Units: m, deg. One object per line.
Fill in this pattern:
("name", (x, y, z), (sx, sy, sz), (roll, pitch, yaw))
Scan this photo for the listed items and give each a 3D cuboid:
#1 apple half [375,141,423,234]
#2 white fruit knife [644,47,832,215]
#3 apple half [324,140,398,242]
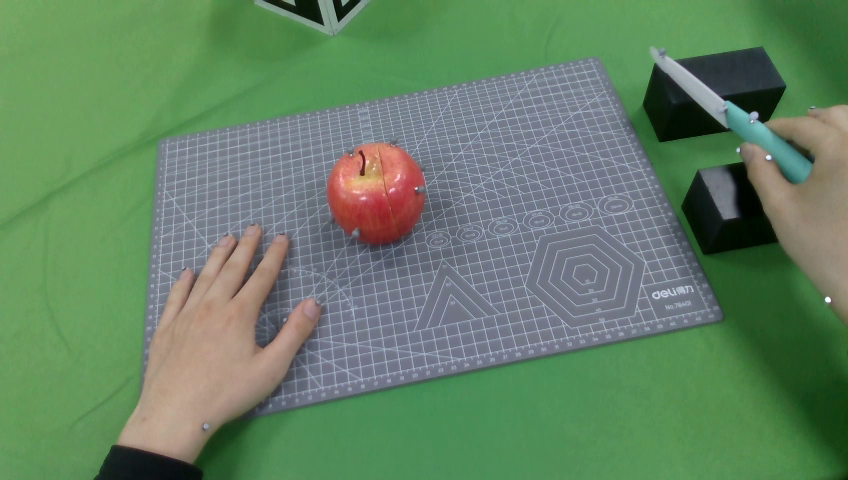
("apple half", (-0.017, -0.045, 0.504), (0.033, 0.082, 0.080), (-14, 58, 2))
("white fruit knife", (0.241, -0.098, 0.484), (0.016, 0.028, 0.205), (-27, 56, -8))
("apple half", (-0.054, -0.036, 0.503), (0.053, 0.075, 0.080), (-14, 63, 2))
